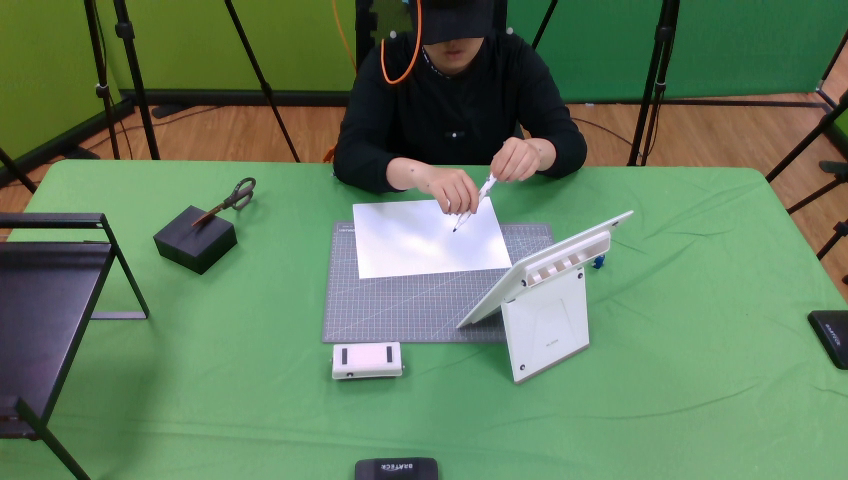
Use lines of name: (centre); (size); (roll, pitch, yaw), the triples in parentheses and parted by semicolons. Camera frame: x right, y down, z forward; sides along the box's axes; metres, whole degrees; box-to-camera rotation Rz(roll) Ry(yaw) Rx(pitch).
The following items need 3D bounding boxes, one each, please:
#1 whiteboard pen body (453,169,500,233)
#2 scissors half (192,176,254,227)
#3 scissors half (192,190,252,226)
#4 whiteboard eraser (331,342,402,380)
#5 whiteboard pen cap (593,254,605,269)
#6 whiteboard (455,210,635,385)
whiteboard pen body: (0.095, -0.071, 1.117); (0.017, 0.017, 0.140); (36, 89, 26)
scissors half: (-0.388, -0.075, 1.174); (0.013, 0.040, 0.174); (29, 47, 8)
scissors half: (-0.393, -0.060, 1.187); (0.013, 0.040, 0.175); (25, 29, 12)
whiteboard eraser: (-0.094, 0.198, 0.986); (0.113, 0.042, 0.055); (-2, 44, -6)
whiteboard pen cap: (0.341, 0.041, 1.179); (0.018, 0.033, 0.018); (0, 46, 0)
whiteboard: (0.211, 0.111, 0.955); (0.217, 0.306, 0.143); (-21, 71, -23)
